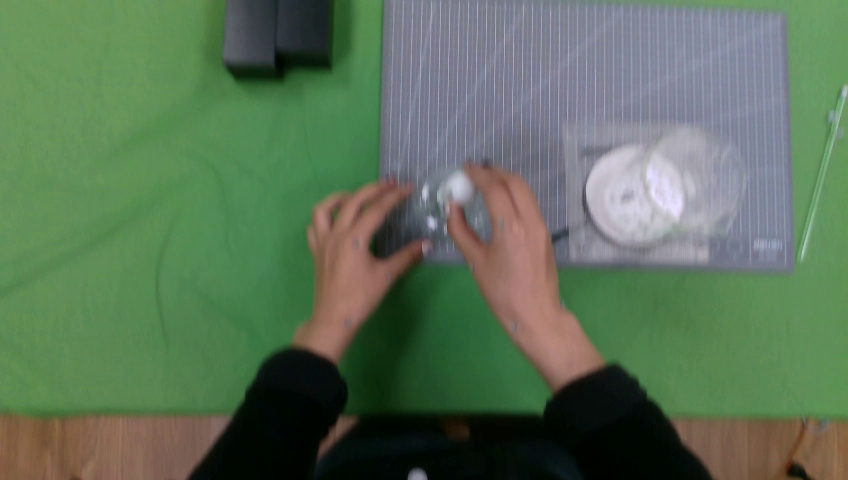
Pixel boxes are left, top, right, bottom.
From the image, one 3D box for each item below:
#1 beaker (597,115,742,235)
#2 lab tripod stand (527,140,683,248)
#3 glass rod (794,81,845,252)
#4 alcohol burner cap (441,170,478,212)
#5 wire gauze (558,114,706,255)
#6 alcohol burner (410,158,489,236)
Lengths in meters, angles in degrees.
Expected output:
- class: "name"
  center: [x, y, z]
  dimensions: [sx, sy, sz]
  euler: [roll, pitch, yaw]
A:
- class: "beaker"
  center: [0.183, -0.041, 0.466]
  dimensions: [0.074, 0.100, 0.084]
  euler: [-31, 87, -6]
- class: "lab tripod stand"
  center: [0.173, -0.039, 0.579]
  dimensions: [0.148, 0.131, 0.148]
  euler: [0, 85, -2]
- class: "glass rod"
  center: [0.434, -0.082, 0.665]
  dimensions: [0.008, 0.008, 0.199]
  euler: [18, 85, -2]
- class: "alcohol burner cap"
  center: [0.032, -0.044, 0.526]
  dimensions: [0.034, 0.048, 0.034]
  euler: [0, 84, 0]
- class: "wire gauze"
  center: [0.178, -0.048, 0.514]
  dimensions: [0.125, 0.011, 0.121]
  euler: [1, 84, -2]
- class: "alcohol burner"
  center: [0.026, -0.044, 0.580]
  dimensions: [0.078, 0.119, 0.077]
  euler: [1, 83, -4]
